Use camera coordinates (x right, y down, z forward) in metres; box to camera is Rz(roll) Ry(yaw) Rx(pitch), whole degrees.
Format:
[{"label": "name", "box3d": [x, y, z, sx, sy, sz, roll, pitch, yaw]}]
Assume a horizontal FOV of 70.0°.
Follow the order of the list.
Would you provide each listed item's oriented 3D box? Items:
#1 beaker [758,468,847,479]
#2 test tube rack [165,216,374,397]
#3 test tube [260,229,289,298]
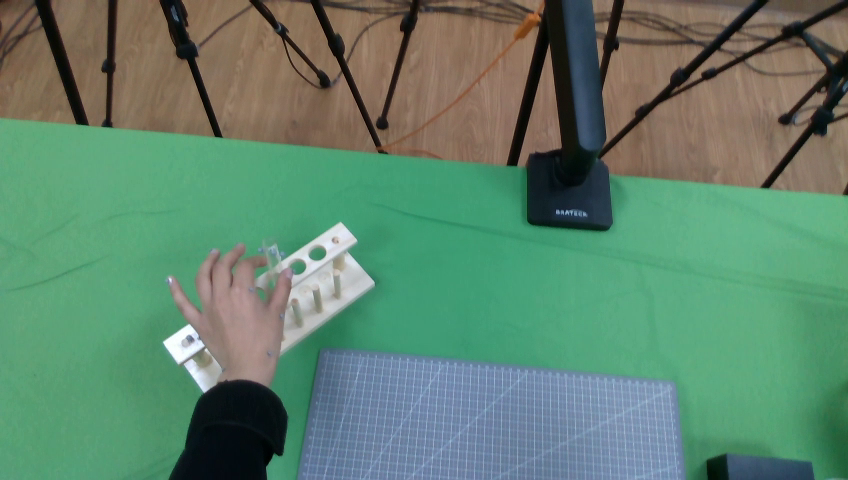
[{"label": "beaker", "box3d": [0.261, 0.205, 0.421, 0.074, 0.101, 0.084, 34, 68, 9]}, {"label": "test tube rack", "box3d": [-0.177, 0.079, 0.735, 0.242, 0.086, 0.066, -37, 71, -20]}, {"label": "test tube", "box3d": [-0.171, 0.032, 0.704, 0.017, 0.151, 0.017, 3, 60, -4]}]
